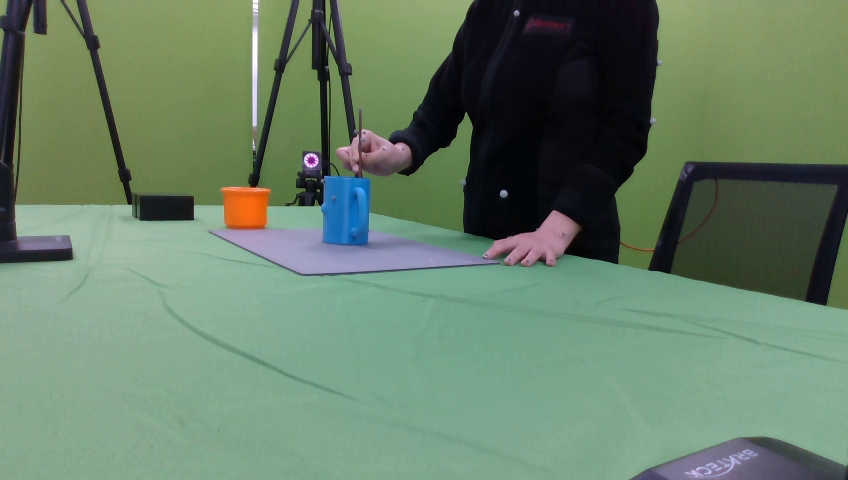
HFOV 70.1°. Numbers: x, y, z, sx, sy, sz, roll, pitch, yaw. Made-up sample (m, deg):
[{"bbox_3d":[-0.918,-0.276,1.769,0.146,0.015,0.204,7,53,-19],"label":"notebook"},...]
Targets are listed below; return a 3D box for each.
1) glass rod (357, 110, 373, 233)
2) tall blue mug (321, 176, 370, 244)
[{"bbox_3d":[-0.096,-0.111,0.979,0.008,0.199,0.008,-6,0,0],"label":"glass rod"},{"bbox_3d":[-0.116,-0.049,0.990,0.106,0.108,0.078,7,8,33],"label":"tall blue mug"}]
